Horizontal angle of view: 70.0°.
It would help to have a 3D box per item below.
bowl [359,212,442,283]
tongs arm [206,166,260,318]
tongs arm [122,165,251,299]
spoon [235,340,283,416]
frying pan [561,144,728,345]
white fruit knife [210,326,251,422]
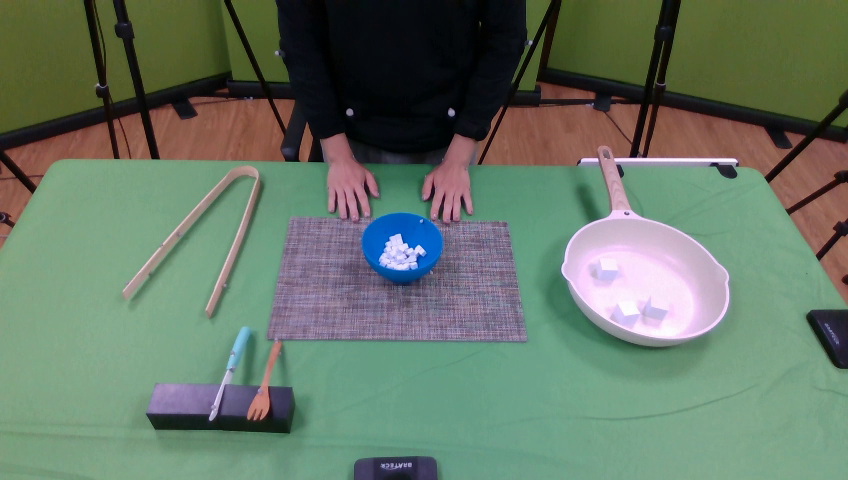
[{"bbox_3d":[-0.044,0.026,1.125,0.151,0.077,0.150,2,46,-2],"label":"bowl"},{"bbox_3d":[-0.367,-0.010,1.175,0.028,0.028,0.385,2,46,1],"label":"tongs arm"},{"bbox_3d":[-0.447,-0.027,1.179,0.051,0.026,0.383,14,46,8],"label":"tongs arm"},{"bbox_3d":[-0.244,0.207,0.932,0.042,0.022,0.193,28,25,-8],"label":"spoon"},{"bbox_3d":[0.397,-0.008,1.179,0.307,0.103,0.485,2,55,-4],"label":"frying pan"},{"bbox_3d":[-0.300,0.201,0.941,0.016,0.027,0.206,-2,32,1],"label":"white fruit knife"}]
